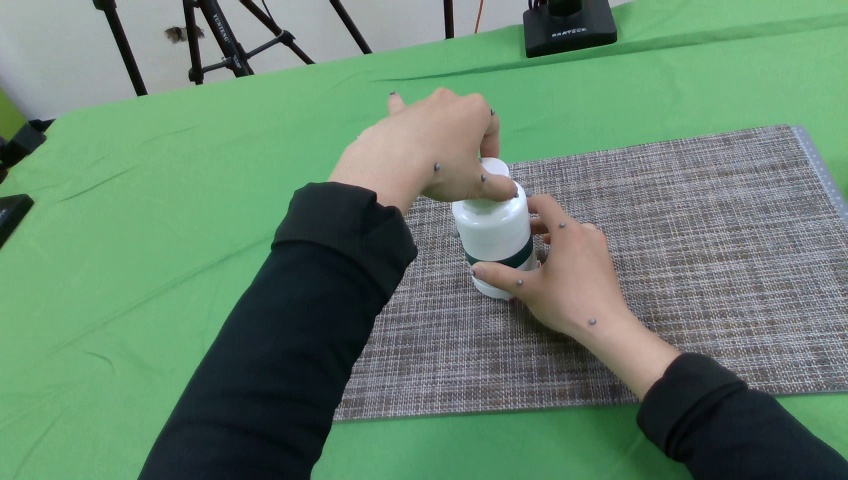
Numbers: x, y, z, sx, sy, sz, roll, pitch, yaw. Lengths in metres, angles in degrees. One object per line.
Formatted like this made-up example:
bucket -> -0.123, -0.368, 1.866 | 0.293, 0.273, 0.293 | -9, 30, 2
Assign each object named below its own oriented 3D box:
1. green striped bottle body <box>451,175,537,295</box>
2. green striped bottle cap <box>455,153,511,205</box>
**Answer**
green striped bottle body -> 0.061, -0.011, 0.526 | 0.063, 0.120, 0.062 | -10, 45, 10
green striped bottle cap -> 0.047, -0.048, 0.489 | 0.044, 0.020, 0.044 | -6, 57, 10
